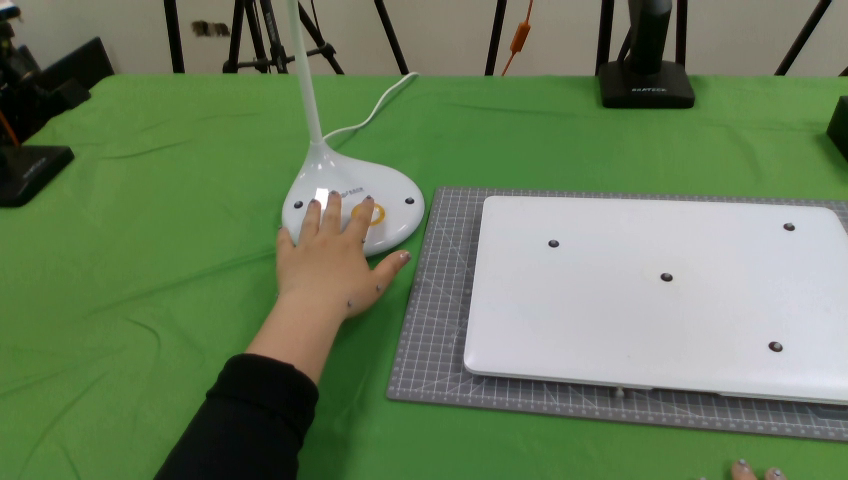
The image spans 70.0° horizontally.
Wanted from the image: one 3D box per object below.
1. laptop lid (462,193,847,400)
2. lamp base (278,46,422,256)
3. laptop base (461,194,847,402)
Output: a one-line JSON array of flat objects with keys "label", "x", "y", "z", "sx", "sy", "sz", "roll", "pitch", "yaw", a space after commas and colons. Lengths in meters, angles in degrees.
[{"label": "laptop lid", "x": 0.219, "y": 0.035, "z": 0.553, "sx": 0.356, "sy": 0.013, "sz": 0.239, "roll": 3, "pitch": 44, "yaw": 10}, {"label": "lamp base", "x": -0.096, "y": -0.101, "z": 0.635, "sx": 0.160, "sy": 0.182, "sz": 0.177, "roll": -32, "pitch": 45, "yaw": -28}, {"label": "laptop base", "x": 0.220, "y": 0.042, "z": 0.563, "sx": 0.354, "sy": 0.023, "sz": 0.233, "roll": 3, "pitch": 45, "yaw": 9}]
